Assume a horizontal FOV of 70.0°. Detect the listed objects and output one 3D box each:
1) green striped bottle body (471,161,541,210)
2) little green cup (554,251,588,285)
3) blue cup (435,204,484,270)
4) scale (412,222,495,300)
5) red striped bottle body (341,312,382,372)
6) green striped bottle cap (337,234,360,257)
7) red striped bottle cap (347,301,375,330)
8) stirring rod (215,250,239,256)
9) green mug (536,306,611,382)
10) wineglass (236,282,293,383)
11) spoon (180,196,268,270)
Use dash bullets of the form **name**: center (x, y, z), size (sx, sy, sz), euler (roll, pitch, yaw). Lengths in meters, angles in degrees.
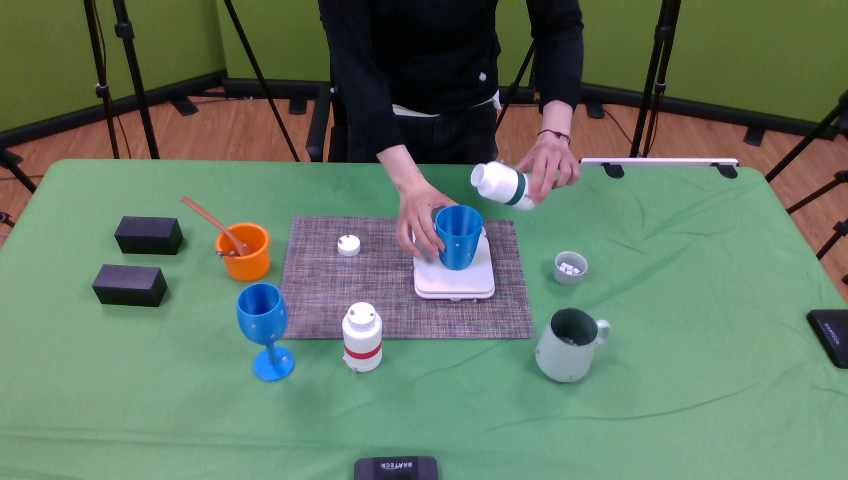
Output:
- **green striped bottle body**: center (0.139, -0.096, 1.044), size (0.120, 0.063, 0.062), euler (15, 39, -31)
- **little green cup**: center (0.277, 0.055, 1.151), size (0.061, 0.039, 0.061), euler (1, 46, -1)
- **blue cup**: center (0.060, 0.000, 1.097), size (0.092, 0.101, 0.092), euler (1, 44, -1)
- **scale**: center (0.052, 0.031, 1.158), size (0.149, 0.032, 0.199), euler (1, 46, -4)
- **red striped bottle body**: center (-0.100, 0.154, 0.972), size (0.063, 0.120, 0.062), euler (2, 46, -1)
- **green striped bottle cap**: center (-0.147, 0.010, 1.176), size (0.044, 0.020, 0.044), euler (3, 49, -4)
- **red striped bottle cap**: center (-0.097, 0.116, 0.934), size (0.044, 0.018, 0.044), euler (2, 48, -2)
- **stirring rod**: center (-0.339, 0.024, 1.059), size (0.014, 0.176, 0.006), euler (17, 86, -6)
- **green mug**: center (0.250, 0.167, 0.996), size (0.125, 0.105, 0.092), euler (-16, 48, -18)
- **wineglass**: center (-0.243, 0.143, 0.934), size (0.074, 0.173, 0.073), euler (2, 46, -2)
- **spoon**: center (-0.360, -0.014, 1.094), size (0.021, 0.194, 0.041), euler (-28, 26, 31)
